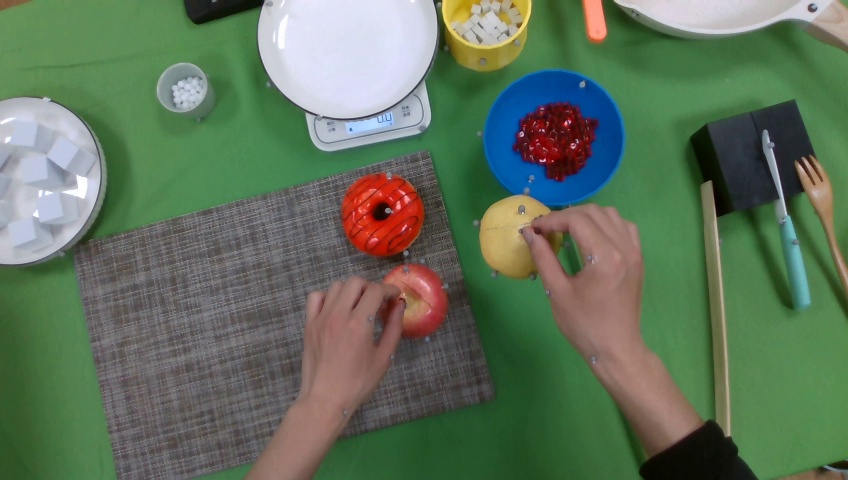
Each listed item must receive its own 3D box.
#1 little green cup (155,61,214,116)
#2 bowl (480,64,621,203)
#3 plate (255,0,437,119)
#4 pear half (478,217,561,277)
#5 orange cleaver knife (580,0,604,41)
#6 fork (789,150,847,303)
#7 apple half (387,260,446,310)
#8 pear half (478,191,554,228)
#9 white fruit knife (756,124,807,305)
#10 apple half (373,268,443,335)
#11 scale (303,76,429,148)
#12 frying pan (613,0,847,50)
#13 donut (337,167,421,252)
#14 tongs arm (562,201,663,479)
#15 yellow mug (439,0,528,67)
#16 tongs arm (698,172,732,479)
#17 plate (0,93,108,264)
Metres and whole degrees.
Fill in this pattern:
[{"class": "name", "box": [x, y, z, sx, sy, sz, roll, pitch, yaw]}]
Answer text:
[{"class": "little green cup", "box": [-0.286, -0.180, 0.733, 0.061, 0.039, 0.061, 0, 84, 4]}, {"class": "bowl", "box": [0.137, -0.110, 0.681, 0.151, 0.077, 0.151, 0, 85, 3]}, {"class": "plate", "box": [-0.087, -0.238, 0.697, 0.209, 0.038, 0.208, 0, 84, 3]}, {"class": "pear half", "box": [0.091, 0.005, 0.551, 0.076, 0.110, 0.056, -14, 87, -1]}, {"class": "orange cleaver knife", "box": [0.188, -0.325, 0.669, 0.077, 0.012, 0.210, -10, 84, 5]}, {"class": "fork", "box": [0.443, 0.000, 0.659, 0.028, 0.018, 0.208, -25, 99, -1]}, {"class": "apple half", "box": [-0.001, 0.043, 0.670, 0.081, 0.081, 0.033, 38, 91, 7]}, {"class": "pear half", "box": [0.083, -0.029, 0.562, 0.070, 0.088, 0.031, -15, 87, -2]}, {"class": "white fruit knife", "box": [0.386, -0.025, 0.657, 0.016, 0.027, 0.208, -17, 98, 2]}, {"class": "apple half", "box": [-0.024, 0.075, 0.670, 0.080, 0.075, 0.053, 40, 91, 4]}, {"class": "scale", "box": [-0.082, -0.220, 0.728, 0.148, 0.031, 0.200, -11, 84, 2]}, {"class": "frying pan", "box": [0.386, -0.294, 0.672, 0.307, 0.103, 0.485, -42, 75, 0]}, {"class": "donut", "box": [-0.052, -0.035, 0.697, 0.099, 0.048, 0.099, -1, 84, 6]}, {"class": "tongs arm", "box": [0.232, 0.133, 0.672, 0.051, 0.026, 0.383, -15, 85, -1]}, {"class": "yellow mug", "box": [0.057, -0.272, 0.708, 0.130, 0.064, 0.100, 42, 89, 8]}, {"class": "tongs arm", "box": [0.317, 0.117, 0.671, 0.028, 0.028, 0.386, 0, 85, -3]}, {"class": "plate", "box": [-0.480, -0.073, 0.734, 0.207, 0.039, 0.207, 0, 84, 3]}]
